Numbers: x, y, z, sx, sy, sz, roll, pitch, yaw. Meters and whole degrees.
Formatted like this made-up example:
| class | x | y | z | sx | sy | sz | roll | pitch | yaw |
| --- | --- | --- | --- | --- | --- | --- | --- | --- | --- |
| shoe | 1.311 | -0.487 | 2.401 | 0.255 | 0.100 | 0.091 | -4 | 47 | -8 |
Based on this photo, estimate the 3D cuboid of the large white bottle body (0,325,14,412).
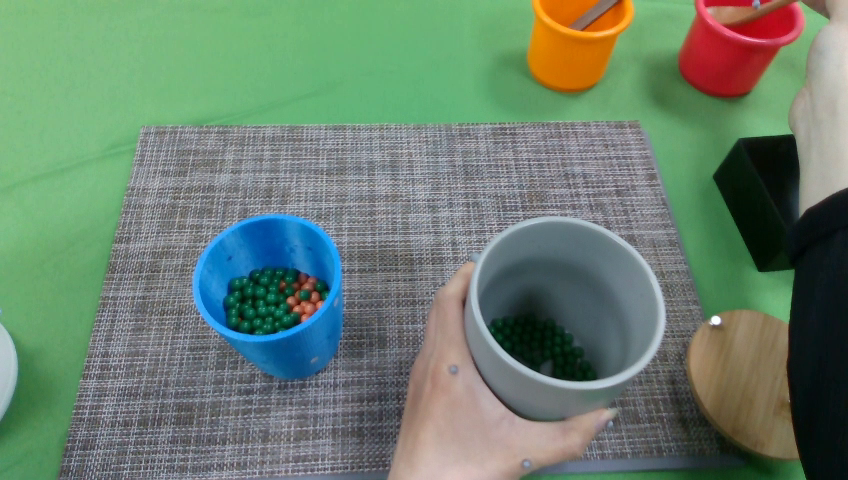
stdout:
| class | x | y | z | sx | sy | sz | roll | pitch | yaw |
| --- | --- | --- | --- | --- | --- | --- | --- | --- | --- |
| large white bottle body | -0.336 | 0.056 | 0.327 | 0.131 | 0.186 | 0.129 | 2 | 58 | -2 |

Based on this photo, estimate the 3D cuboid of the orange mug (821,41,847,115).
| class | x | y | z | sx | sy | sz | roll | pitch | yaw |
| --- | --- | --- | --- | --- | --- | --- | --- | --- | --- |
| orange mug | 0.444 | -0.158 | 0.554 | 0.083 | 0.101 | 0.125 | -3 | 54 | -4 |

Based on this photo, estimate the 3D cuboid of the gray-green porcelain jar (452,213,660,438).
| class | x | y | z | sx | sy | sz | roll | pitch | yaw |
| --- | --- | --- | --- | --- | --- | --- | --- | --- | --- |
| gray-green porcelain jar | 0.073 | 0.061 | 0.379 | 0.106 | 0.127 | 0.105 | 1 | 58 | -2 |

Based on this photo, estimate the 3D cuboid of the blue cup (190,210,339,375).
| class | x | y | z | sx | sy | sz | roll | pitch | yaw |
| --- | --- | --- | --- | --- | --- | --- | --- | --- | --- |
| blue cup | -0.093 | 0.044 | 0.395 | 0.093 | 0.101 | 0.092 | 1 | 59 | -1 |

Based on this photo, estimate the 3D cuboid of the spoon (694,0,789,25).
| class | x | y | z | sx | sy | sz | roll | pitch | yaw |
| --- | --- | --- | --- | --- | --- | --- | --- | --- | --- |
| spoon | 0.319 | -0.205 | 0.508 | 0.041 | 0.022 | 0.192 | -34 | 22 | -26 |

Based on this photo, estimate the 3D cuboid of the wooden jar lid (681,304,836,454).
| class | x | y | z | sx | sy | sz | roll | pitch | yaw |
| --- | --- | --- | --- | --- | --- | --- | --- | --- | --- |
| wooden jar lid | 0.233 | 0.098 | 0.430 | 0.108 | 0.021 | 0.107 | 3 | 57 | -5 |

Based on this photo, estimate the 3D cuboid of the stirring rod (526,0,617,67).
| class | x | y | z | sx | sy | sz | roll | pitch | yaw |
| --- | --- | --- | --- | --- | --- | --- | --- | --- | --- |
| stirring rod | 0.166 | -0.219 | 0.553 | 0.176 | 0.006 | 0.014 | -35 | 60 | 25 |
